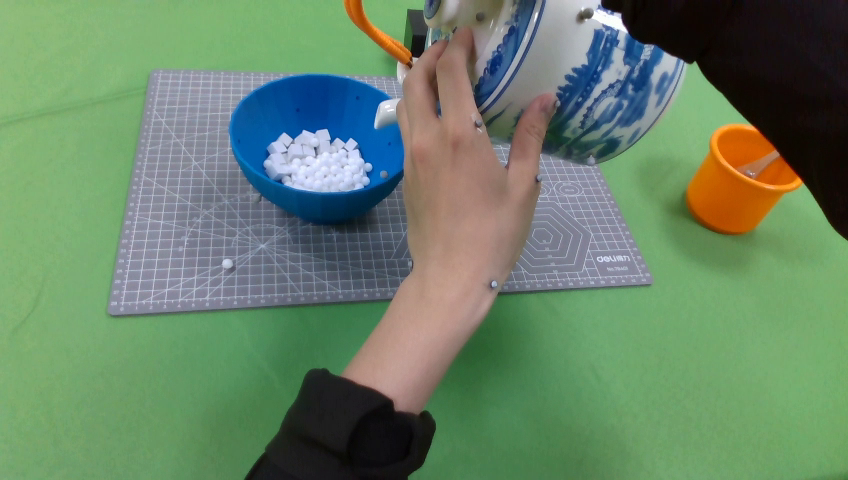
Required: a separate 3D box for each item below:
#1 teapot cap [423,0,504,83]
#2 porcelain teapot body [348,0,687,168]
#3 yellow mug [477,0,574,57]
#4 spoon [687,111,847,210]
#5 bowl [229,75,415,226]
[{"bbox_3d":[0.023,-0.146,0.396,0.044,0.085,0.084,6,48,-27],"label":"teapot cap"},{"bbox_3d":[0.043,-0.127,0.435,0.227,0.206,0.144,10,58,-29],"label":"porcelain teapot body"},{"bbox_3d":[0.107,-0.250,0.661,0.099,0.064,0.130,25,52,10],"label":"yellow mug"},{"bbox_3d":[0.348,-0.084,0.582,0.022,0.194,0.041,34,32,-45],"label":"spoon"},{"bbox_3d":[-0.086,-0.065,0.524,0.152,0.077,0.150,6,49,-6],"label":"bowl"}]
